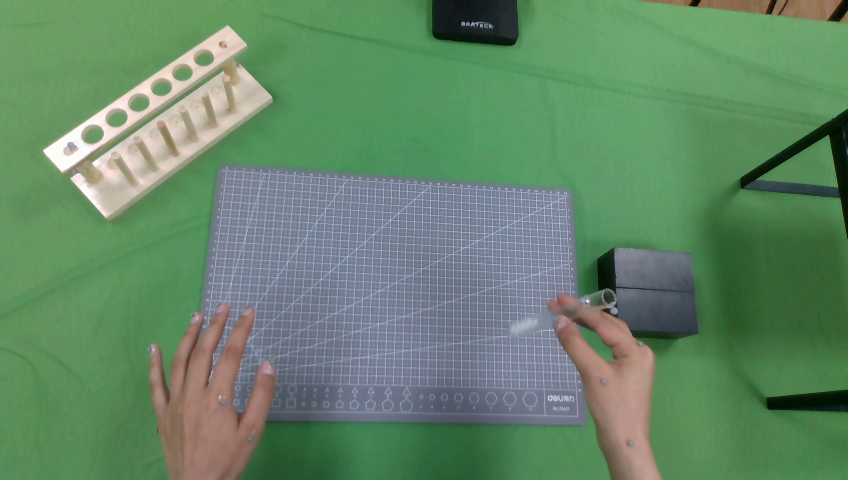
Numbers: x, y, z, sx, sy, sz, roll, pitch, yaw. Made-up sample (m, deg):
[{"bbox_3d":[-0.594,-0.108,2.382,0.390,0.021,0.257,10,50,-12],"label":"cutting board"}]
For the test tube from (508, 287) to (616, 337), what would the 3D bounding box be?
[{"bbox_3d":[0.123,0.070,0.569,0.017,0.150,0.017,10,66,-24],"label":"test tube"}]

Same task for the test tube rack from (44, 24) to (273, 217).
[{"bbox_3d":[-0.294,-0.138,0.701,0.242,0.085,0.066,-42,83,-18],"label":"test tube rack"}]
